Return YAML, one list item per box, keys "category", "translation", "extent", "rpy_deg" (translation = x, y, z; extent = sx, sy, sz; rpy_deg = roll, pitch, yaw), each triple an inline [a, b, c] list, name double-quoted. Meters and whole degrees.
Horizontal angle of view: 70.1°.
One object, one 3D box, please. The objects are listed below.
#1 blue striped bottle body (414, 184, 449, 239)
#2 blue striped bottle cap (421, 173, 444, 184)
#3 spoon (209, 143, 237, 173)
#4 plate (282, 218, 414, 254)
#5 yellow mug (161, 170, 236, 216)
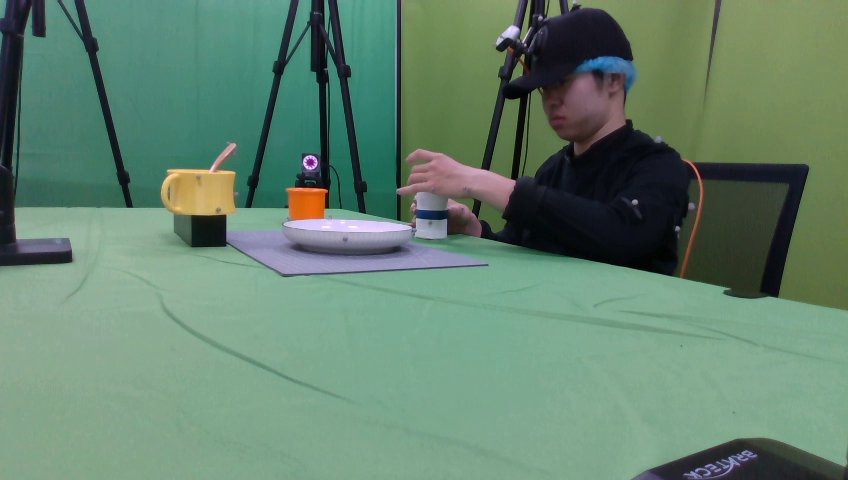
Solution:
- category: "blue striped bottle body"
  translation: [0.015, -0.065, 1.166]
  extent: [0.063, 0.120, 0.063]
  rpy_deg: [2, 8, 0]
- category: "blue striped bottle cap"
  translation: [0.016, -0.117, 1.160]
  extent: [0.044, 0.020, 0.044]
  rpy_deg: [0, 11, 0]
- category: "spoon"
  translation: [-0.341, -0.113, 0.990]
  extent: [0.041, 0.021, 0.193]
  rpy_deg: [1, 40, 6]
- category: "plate"
  translation: [-0.121, -0.007, 0.971]
  extent: [0.208, 0.039, 0.207]
  rpy_deg: [2, 7, 0]
- category: "yellow mug"
  translation: [-0.354, -0.074, 0.935]
  extent: [0.099, 0.064, 0.131]
  rpy_deg: [5, 10, 21]
